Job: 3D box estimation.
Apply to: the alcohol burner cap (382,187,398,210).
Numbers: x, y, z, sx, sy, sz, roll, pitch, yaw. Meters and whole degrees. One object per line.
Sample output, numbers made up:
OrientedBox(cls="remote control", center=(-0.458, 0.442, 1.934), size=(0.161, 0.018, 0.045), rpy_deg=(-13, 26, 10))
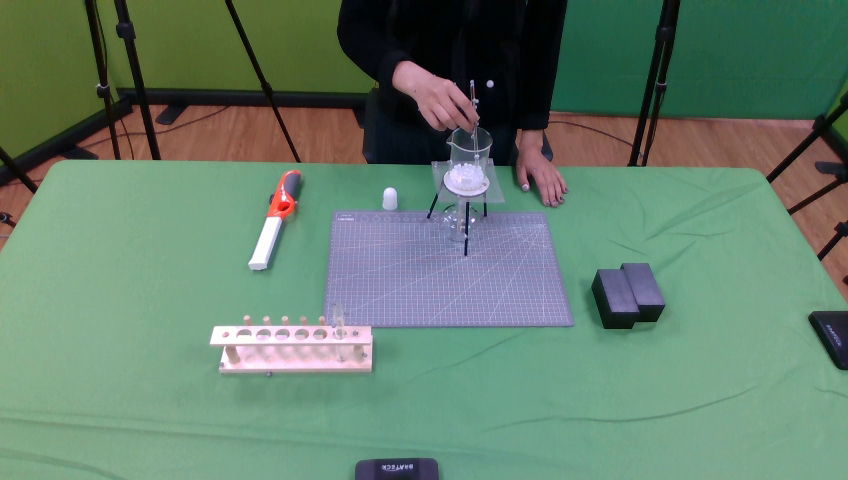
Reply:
OrientedBox(cls="alcohol burner cap", center=(-0.072, -0.090, 1.266), size=(0.034, 0.048, 0.033), rpy_deg=(2, 47, -2))

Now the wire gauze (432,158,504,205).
OrientedBox(cls="wire gauze", center=(0.081, -0.111, 1.138), size=(0.125, 0.011, 0.120), rpy_deg=(0, 48, -7))

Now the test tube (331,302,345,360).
OrientedBox(cls="test tube", center=(-0.132, 0.144, 0.938), size=(0.017, 0.151, 0.017), rpy_deg=(2, 49, -3))

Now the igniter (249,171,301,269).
OrientedBox(cls="igniter", center=(-0.297, -0.049, 1.221), size=(0.057, 0.025, 0.275), rpy_deg=(-2, 45, 9))

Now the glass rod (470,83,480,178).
OrientedBox(cls="glass rod", center=(0.091, -0.186, 1.063), size=(0.008, 0.201, 0.008), rpy_deg=(-5, 45, 5))

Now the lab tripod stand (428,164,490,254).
OrientedBox(cls="lab tripod stand", center=(0.078, -0.068, 1.188), size=(0.148, 0.132, 0.147), rpy_deg=(3, 47, -3))

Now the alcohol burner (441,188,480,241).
OrientedBox(cls="alcohol burner", center=(0.073, -0.055, 1.189), size=(0.078, 0.120, 0.077), rpy_deg=(1, 48, -1))

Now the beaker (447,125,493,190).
OrientedBox(cls="beaker", center=(0.079, -0.148, 1.106), size=(0.084, 0.101, 0.073), rpy_deg=(-3, 47, -7))

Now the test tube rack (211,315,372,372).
OrientedBox(cls="test tube rack", center=(-0.208, 0.163, 0.982), size=(0.242, 0.085, 0.066), rpy_deg=(1, 46, -4))
